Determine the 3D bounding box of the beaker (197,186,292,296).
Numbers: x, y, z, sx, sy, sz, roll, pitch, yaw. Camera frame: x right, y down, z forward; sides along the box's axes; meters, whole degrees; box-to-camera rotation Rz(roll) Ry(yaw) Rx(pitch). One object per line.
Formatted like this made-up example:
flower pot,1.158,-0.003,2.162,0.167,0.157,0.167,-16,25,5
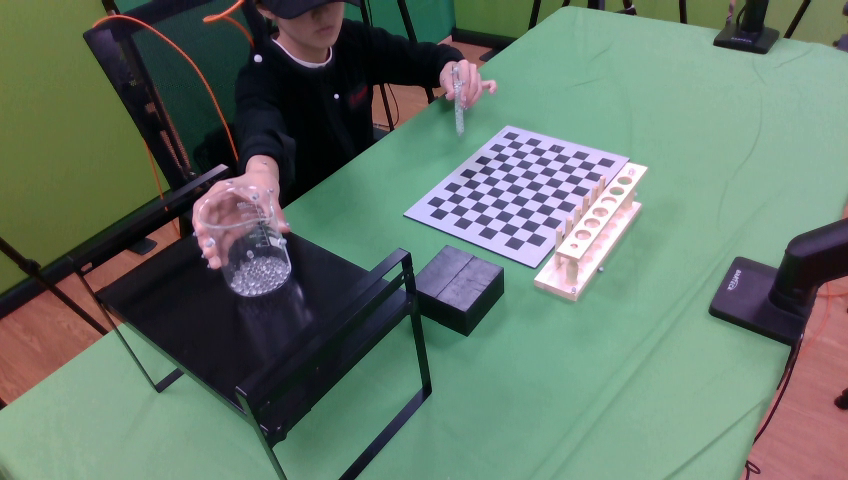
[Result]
beaker,-0.184,0.004,0.646,0.083,0.101,0.074,10,42,20

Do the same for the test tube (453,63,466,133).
test tube,0.066,-0.258,1.110,0.017,0.151,0.017,-4,49,5

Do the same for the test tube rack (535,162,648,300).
test tube rack,0.257,-0.024,0.916,0.066,0.085,0.243,22,49,30
